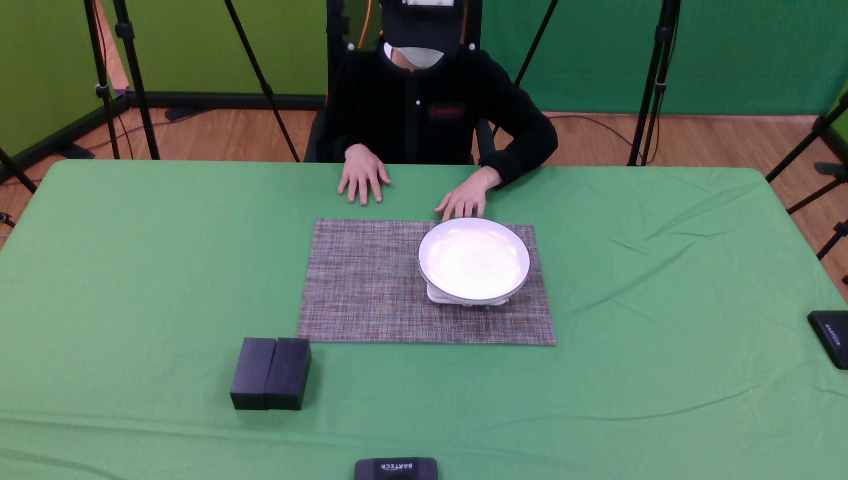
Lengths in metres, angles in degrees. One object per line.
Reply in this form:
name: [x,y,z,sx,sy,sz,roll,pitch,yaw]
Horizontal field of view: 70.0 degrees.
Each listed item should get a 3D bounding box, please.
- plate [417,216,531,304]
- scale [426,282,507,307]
plate: [0.089,0.039,1.110,0.208,0.039,0.206,2,46,-1]
scale: [0.078,0.043,1.152,0.149,0.032,0.199,3,45,-2]
